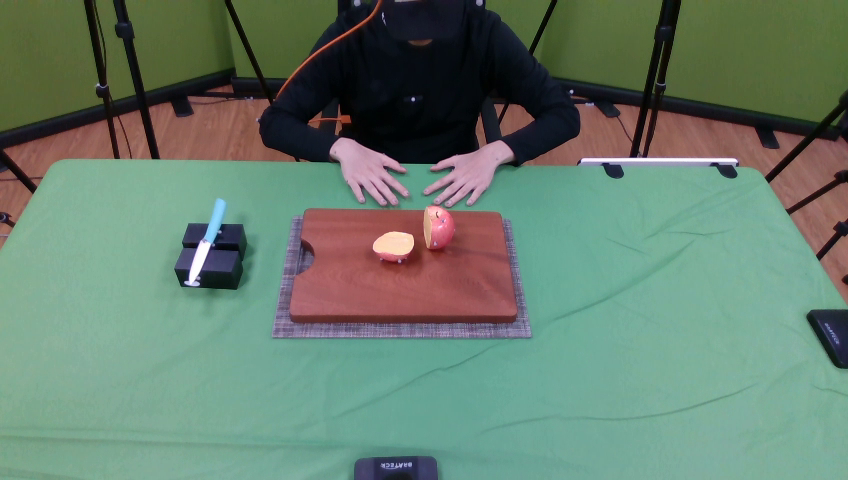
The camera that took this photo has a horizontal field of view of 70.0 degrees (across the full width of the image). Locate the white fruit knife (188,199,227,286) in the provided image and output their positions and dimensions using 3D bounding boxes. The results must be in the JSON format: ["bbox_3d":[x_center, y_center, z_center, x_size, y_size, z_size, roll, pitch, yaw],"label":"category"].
[{"bbox_3d":[-0.393,0.001,1.104,0.027,0.016,0.206,-3,50,9],"label":"white fruit knife"}]

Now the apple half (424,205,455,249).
[{"bbox_3d":[0.030,-0.023,1.144,0.053,0.075,0.080,-2,42,-11],"label":"apple half"}]

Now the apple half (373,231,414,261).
[{"bbox_3d":[-0.053,0.017,1.127,0.081,0.033,0.081,-3,33,2],"label":"apple half"}]
